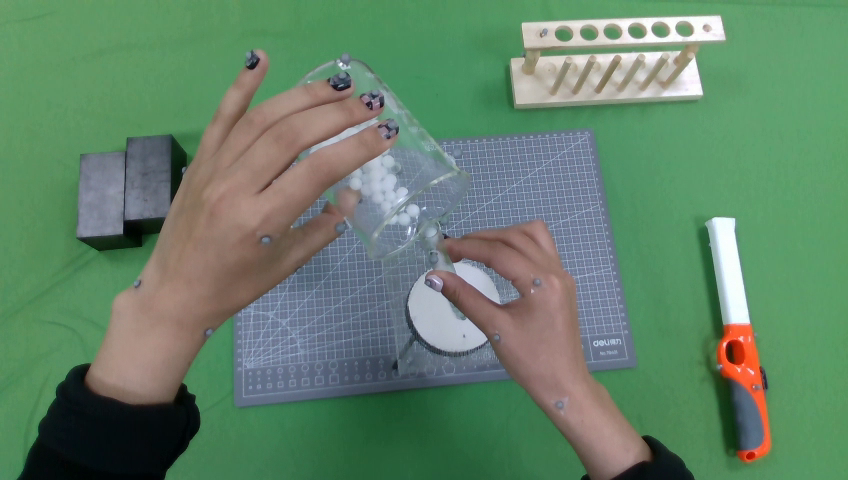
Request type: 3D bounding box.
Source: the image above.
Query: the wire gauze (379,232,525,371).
[{"bbox_3d":[0.026,0.055,0.566,0.125,0.011,0.120,-6,73,-5],"label":"wire gauze"}]

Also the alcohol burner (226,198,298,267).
[{"bbox_3d":[-0.179,-0.014,0.655,0.078,0.120,0.077,1,72,-1],"label":"alcohol burner"}]

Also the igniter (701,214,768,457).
[{"bbox_3d":[0.355,0.103,0.697,0.057,0.025,0.275,2,74,-12],"label":"igniter"}]

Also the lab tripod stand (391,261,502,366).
[{"bbox_3d":[0.021,0.077,0.630,0.148,0.132,0.147,0,73,-1],"label":"lab tripod stand"}]

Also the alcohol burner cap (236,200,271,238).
[{"bbox_3d":[-0.176,-0.023,0.621,0.034,0.048,0.033,1,76,-6],"label":"alcohol burner cap"}]

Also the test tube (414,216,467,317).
[{"bbox_3d":[0.015,0.025,0.449,0.017,0.151,0.017,-5,61,10],"label":"test tube"}]

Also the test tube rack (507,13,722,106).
[{"bbox_3d":[0.232,-0.222,0.751,0.242,0.085,0.066,-4,74,-3],"label":"test tube rack"}]

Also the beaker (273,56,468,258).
[{"bbox_3d":[-0.033,-0.050,0.357,0.074,0.084,0.100,-40,77,2],"label":"beaker"}]
